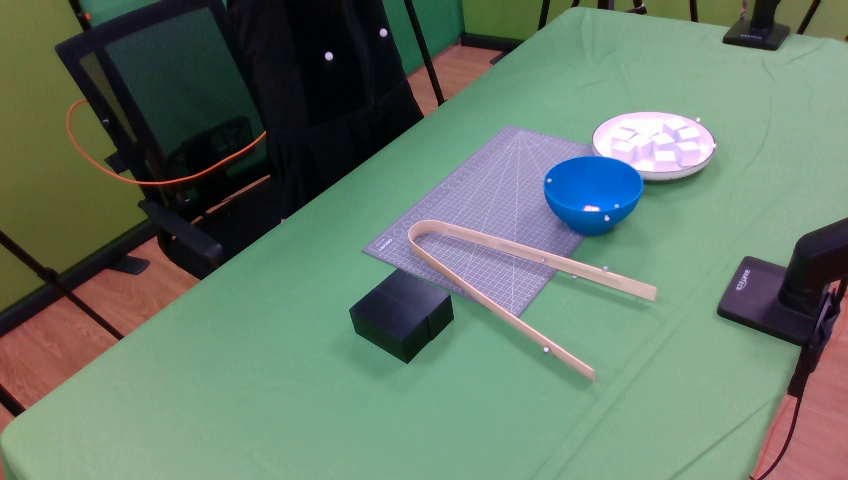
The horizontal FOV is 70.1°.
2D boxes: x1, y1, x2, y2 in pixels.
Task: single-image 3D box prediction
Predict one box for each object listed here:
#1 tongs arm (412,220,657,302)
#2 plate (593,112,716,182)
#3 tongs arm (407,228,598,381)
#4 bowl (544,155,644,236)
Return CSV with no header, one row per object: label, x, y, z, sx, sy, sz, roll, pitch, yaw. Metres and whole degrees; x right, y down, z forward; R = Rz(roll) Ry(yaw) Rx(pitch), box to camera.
tongs arm,0.149,0.031,0.906,0.382,0.026,0.051,20,52,30
plate,0.408,-0.163,1.084,0.207,0.039,0.206,-4,39,4
tongs arm,0.092,0.081,0.862,0.028,0.028,0.384,-38,48,-20
bowl,0.266,-0.061,0.957,0.151,0.077,0.150,-5,41,5
